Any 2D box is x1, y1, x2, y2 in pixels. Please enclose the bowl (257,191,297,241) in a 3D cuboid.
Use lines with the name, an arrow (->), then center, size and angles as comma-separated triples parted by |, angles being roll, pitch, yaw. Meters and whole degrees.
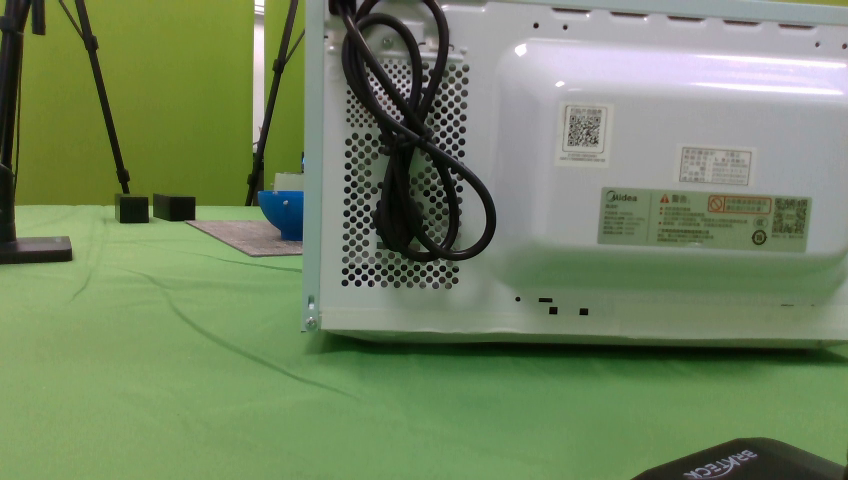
bowl -> -0.206, -0.041, 1.027 | 0.151, 0.077, 0.151 | 3, 8, 0

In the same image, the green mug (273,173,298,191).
green mug -> -0.264, -0.084, 1.236 | 0.093, 0.105, 0.125 | 0, 8, -13

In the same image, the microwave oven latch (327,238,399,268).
microwave oven latch -> -0.069, 0.015, 0.694 | 0.079, 0.029, 0.030 | 3, 7, -3

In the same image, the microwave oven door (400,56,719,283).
microwave oven door -> 0.155, -0.078, 0.698 | 0.356, 0.243, 0.039 | 2, 8, -5

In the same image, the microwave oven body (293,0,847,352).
microwave oven body -> 0.122, -0.055, 0.550 | 0.442, 0.260, 0.325 | 3, 7, -5
